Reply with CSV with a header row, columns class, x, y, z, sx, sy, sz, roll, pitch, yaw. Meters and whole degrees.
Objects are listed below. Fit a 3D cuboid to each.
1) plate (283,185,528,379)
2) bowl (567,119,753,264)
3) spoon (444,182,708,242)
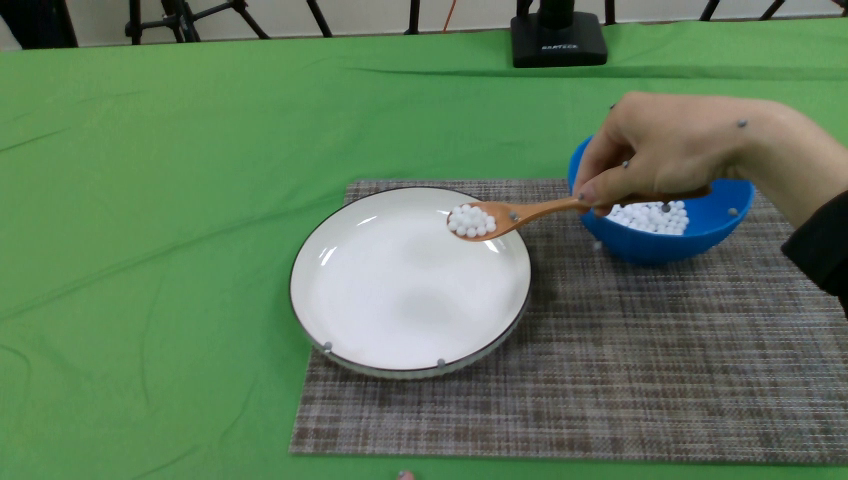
class,x,y,z,sx,sy,sz,roll,pitch,yaw
plate,-0.015,0.034,0.529,0.207,0.039,0.205,-3,47,3
bowl,0.200,-0.032,0.541,0.151,0.077,0.150,-2,47,3
spoon,0.103,-0.024,0.447,0.193,0.022,0.041,-9,44,30
